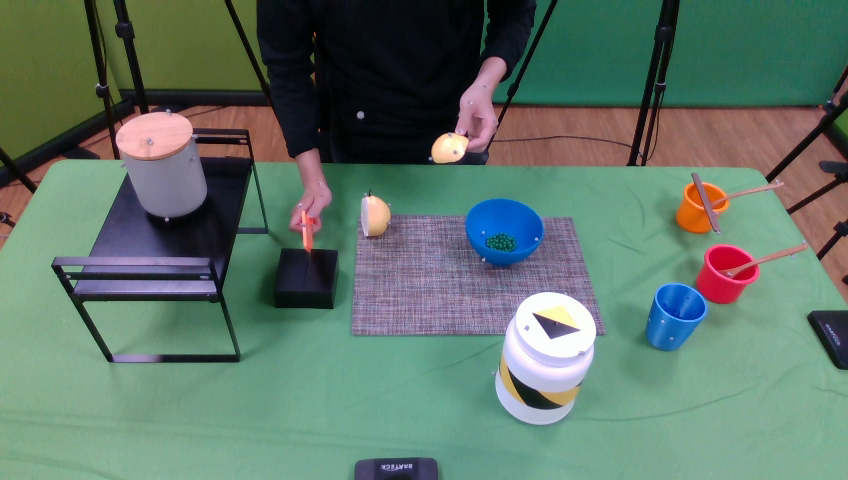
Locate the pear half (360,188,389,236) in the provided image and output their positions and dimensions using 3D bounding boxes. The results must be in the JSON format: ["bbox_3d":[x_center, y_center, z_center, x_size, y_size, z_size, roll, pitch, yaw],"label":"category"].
[{"bbox_3d":[-0.096,-0.060,1.181,0.056,0.110,0.076,-13,52,-17],"label":"pear half"}]

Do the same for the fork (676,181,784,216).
[{"bbox_3d":[0.618,-0.084,1.235,0.019,0.207,0.028,55,40,-15],"label":"fork"}]

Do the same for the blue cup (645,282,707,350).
[{"bbox_3d":[0.425,0.136,1.042,0.093,0.101,0.092,1,44,-1],"label":"blue cup"}]

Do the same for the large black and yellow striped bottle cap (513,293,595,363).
[{"bbox_3d":[0.185,0.123,0.863,0.115,0.019,0.114,3,45,-3],"label":"large black and yellow striped bottle cap"}]

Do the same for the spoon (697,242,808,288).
[{"bbox_3d":[0.601,0.045,1.115,0.194,0.022,0.041,-29,35,30],"label":"spoon"}]

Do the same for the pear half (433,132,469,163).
[{"bbox_3d":[0.043,-0.167,1.060,0.070,0.031,0.087,-42,30,2],"label":"pear half"}]

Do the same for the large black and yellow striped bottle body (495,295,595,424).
[{"bbox_3d":[0.183,0.182,0.923,0.131,0.185,0.130,2,46,-2],"label":"large black and yellow striped bottle body"}]

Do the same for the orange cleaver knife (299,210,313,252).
[{"bbox_3d":[-0.217,-0.018,1.125,0.012,0.077,0.211,-6,5,-6],"label":"orange cleaver knife"}]

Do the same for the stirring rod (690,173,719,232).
[{"bbox_3d":[0.566,-0.080,1.225,0.014,0.006,0.175,2,46,2],"label":"stirring rod"}]

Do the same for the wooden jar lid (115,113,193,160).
[{"bbox_3d":[-0.399,-0.151,0.900,0.108,0.021,0.107,3,46,-3],"label":"wooden jar lid"}]

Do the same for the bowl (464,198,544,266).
[{"bbox_3d":[0.149,-0.003,1.168,0.151,0.077,0.150,2,46,-2],"label":"bowl"}]

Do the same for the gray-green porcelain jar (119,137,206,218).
[{"bbox_3d":[-0.403,-0.106,0.946,0.106,0.127,0.105,3,46,-2],"label":"gray-green porcelain jar"}]
